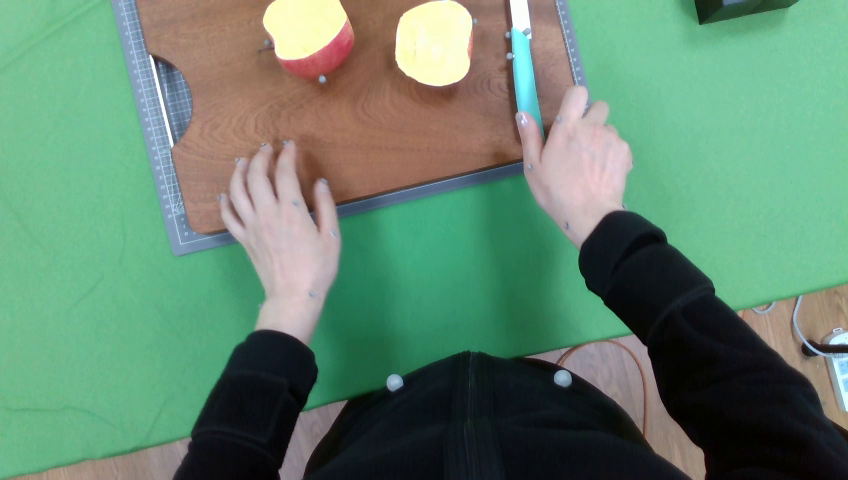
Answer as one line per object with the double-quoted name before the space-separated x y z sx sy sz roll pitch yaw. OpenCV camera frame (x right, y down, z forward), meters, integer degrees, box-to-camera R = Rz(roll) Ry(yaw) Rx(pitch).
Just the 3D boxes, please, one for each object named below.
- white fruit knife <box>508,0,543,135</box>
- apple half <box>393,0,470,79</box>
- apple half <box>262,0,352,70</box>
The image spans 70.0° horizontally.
"white fruit knife" 0.093 -0.206 0.593 0.027 0.016 0.207 -6 88 -31
"apple half" 0.009 -0.194 0.581 0.081 0.033 0.081 2 100 10
"apple half" -0.104 -0.194 0.564 0.074 0.054 0.080 -31 67 0
